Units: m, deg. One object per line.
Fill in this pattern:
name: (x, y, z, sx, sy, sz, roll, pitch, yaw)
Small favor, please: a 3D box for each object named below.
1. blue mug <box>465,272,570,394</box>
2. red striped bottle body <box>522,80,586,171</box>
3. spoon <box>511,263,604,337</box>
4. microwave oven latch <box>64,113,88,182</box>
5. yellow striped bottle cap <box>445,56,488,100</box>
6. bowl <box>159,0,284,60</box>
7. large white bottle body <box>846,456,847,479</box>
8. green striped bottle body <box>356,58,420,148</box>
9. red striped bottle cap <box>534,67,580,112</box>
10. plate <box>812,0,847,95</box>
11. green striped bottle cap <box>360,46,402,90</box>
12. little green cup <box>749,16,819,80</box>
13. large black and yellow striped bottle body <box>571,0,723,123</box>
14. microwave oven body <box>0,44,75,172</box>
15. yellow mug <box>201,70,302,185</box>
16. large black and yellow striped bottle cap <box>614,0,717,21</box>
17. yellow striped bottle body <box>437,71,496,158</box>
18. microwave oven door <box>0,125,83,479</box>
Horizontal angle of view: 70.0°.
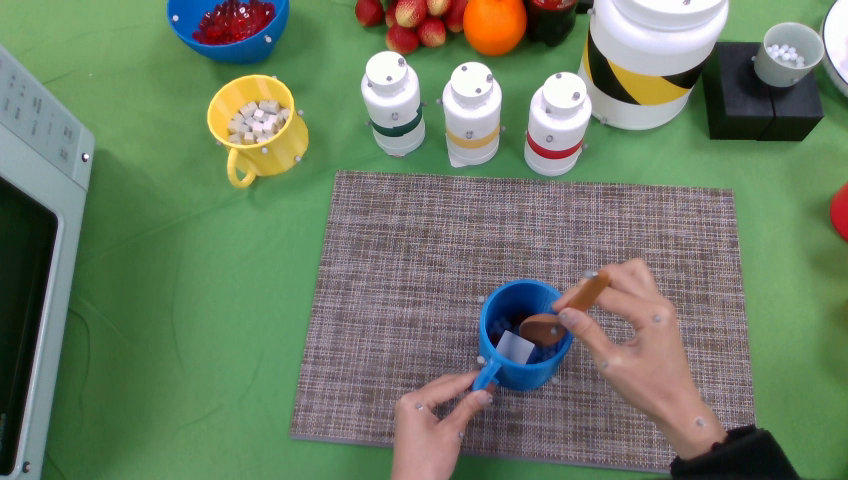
blue mug: (0.079, 0.098, 0.569, 0.082, 0.106, 0.116, 38, 75, 18)
red striped bottle body: (0.139, -0.130, 0.653, 0.063, 0.120, 0.062, -3, 66, 6)
spoon: (0.107, 0.053, 0.484, 0.041, 0.194, 0.021, 16, 72, 0)
microwave oven latch: (-0.416, -0.107, 0.709, 0.030, 0.030, 0.078, -4, 68, 2)
yellow striped bottle cap: (0.043, -0.166, 0.618, 0.044, 0.019, 0.044, -1, 69, 3)
bowl: (-0.243, -0.283, 0.766, 0.151, 0.077, 0.150, -1, 68, 3)
large white bottle body: (0.441, 0.190, 0.465, 0.130, 0.186, 0.129, -2, 67, 4)
green striped bottle body: (-0.040, -0.159, 0.678, 0.063, 0.120, 0.062, -1, 67, 4)
red striped bottle cap: (0.133, -0.151, 0.605, 0.044, 0.018, 0.044, 0, 67, 0)
plate: (0.557, -0.225, 0.704, 0.209, 0.038, 0.207, -1, 68, 4)
green striped bottle cap: (-0.045, -0.180, 0.630, 0.044, 0.020, 0.044, -1, 67, 3)
little green cup: (0.385, -0.205, 0.654, 0.061, 0.039, 0.061, -1, 66, 2)
large black and yellow striped bottle body: (0.235, -0.227, 0.650, 0.131, 0.185, 0.130, -2, 68, 4)
microwave oven body: (-0.558, 0.033, 0.559, 0.326, 0.262, 0.438, -5, 68, 2)
yellow mug: (-0.204, -0.125, 0.705, 0.100, 0.064, 0.130, 13, 70, 8)
large black and yellow striped bottle cap: (0.228, -0.258, 0.572, 0.115, 0.019, 0.114, -2, 67, 4)
yellow striped bottle body: (0.048, -0.146, 0.666, 0.063, 0.121, 0.062, -2, 67, 5)
microwave oven door: (-0.410, 0.057, 0.533, 0.039, 0.245, 0.353, -6, 68, 3)
